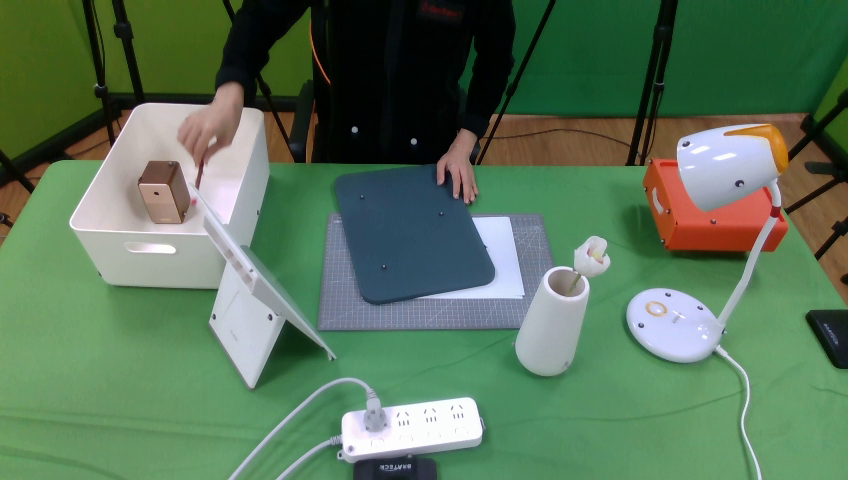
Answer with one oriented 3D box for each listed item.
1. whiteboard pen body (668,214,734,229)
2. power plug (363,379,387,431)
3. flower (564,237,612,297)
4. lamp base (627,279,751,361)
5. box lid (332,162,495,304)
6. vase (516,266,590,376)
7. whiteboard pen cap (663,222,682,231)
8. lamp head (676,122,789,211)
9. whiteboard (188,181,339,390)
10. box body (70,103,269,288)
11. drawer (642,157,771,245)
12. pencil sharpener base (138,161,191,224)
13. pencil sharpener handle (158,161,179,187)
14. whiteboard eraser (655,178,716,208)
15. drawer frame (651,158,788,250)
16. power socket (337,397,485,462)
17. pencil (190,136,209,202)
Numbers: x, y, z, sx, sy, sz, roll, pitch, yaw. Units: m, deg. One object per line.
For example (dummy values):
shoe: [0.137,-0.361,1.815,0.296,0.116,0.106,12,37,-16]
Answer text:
whiteboard pen body: [0.547,-0.035,1.200,0.141,0.017,0.017,-8,48,-9]
power plug: [-0.072,0.252,0.910,0.035,0.053,0.072,3,45,-1]
flower: [0.206,0.088,0.893,0.038,0.363,0.044,-16,67,-9]
lamp base: [0.459,0.100,1.027,0.178,0.181,0.160,27,51,17]
box lid: [-0.031,-0.028,1.228,0.264,0.015,0.369,-10,47,-13]
vase: [0.208,0.132,0.964,0.098,0.201,0.097,3,46,-3]
whiteboard pen cap: [0.488,-0.027,1.188,0.033,0.018,0.018,-1,46,-15]
lamp head: [0.423,-0.104,0.819,0.122,0.113,0.112,-13,33,40]
whiteboard: [-0.292,0.096,0.929,0.144,0.307,0.216,-38,57,-11]
box body: [-0.450,-0.087,1.149,0.254,0.161,0.361,2,46,-2]
drawer: [0.564,-0.075,1.210,0.212,0.073,0.193,3,45,-1]
pencil sharpener base: [-0.502,-0.094,1.181,0.061,0.107,0.076,0,45,-2]
pencil sharpener handle: [-0.503,-0.138,1.208,0.036,0.068,0.030,3,45,-4]
whiteboard eraser: [0.538,-0.095,1.251,0.113,0.042,0.055,4,52,-10]
drawer frame: [0.571,-0.074,1.213,0.214,0.083,0.200,1,46,0]
power socket: [-0.018,0.285,0.915,0.227,0.033,0.071,-5,46,-8]
pencil: [-0.390,-0.130,1.061,0.012,0.012,0.192,-3,43,-7]
